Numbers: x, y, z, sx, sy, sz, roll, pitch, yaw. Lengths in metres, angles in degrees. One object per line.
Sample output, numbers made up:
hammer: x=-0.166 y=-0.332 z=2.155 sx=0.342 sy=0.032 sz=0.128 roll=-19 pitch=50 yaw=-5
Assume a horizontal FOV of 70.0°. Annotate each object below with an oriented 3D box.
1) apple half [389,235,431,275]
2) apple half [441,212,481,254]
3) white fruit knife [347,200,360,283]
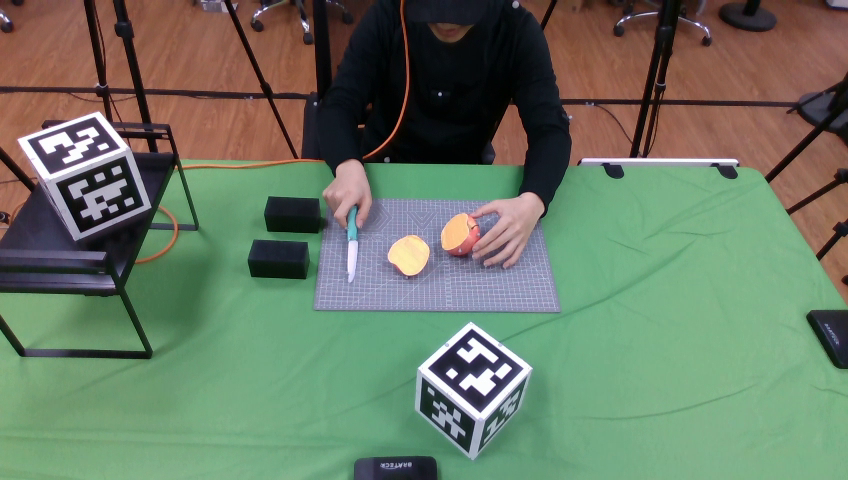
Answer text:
apple half: x=-0.023 y=0.032 z=1.145 sx=0.081 sy=0.033 sz=0.081 roll=-2 pitch=65 yaw=5
apple half: x=0.076 y=-0.006 z=1.168 sx=0.053 sy=0.074 sz=0.080 roll=32 pitch=34 yaw=-35
white fruit knife: x=-0.138 y=-0.001 z=1.175 sx=0.027 sy=0.016 sz=0.206 roll=31 pitch=40 yaw=-34
